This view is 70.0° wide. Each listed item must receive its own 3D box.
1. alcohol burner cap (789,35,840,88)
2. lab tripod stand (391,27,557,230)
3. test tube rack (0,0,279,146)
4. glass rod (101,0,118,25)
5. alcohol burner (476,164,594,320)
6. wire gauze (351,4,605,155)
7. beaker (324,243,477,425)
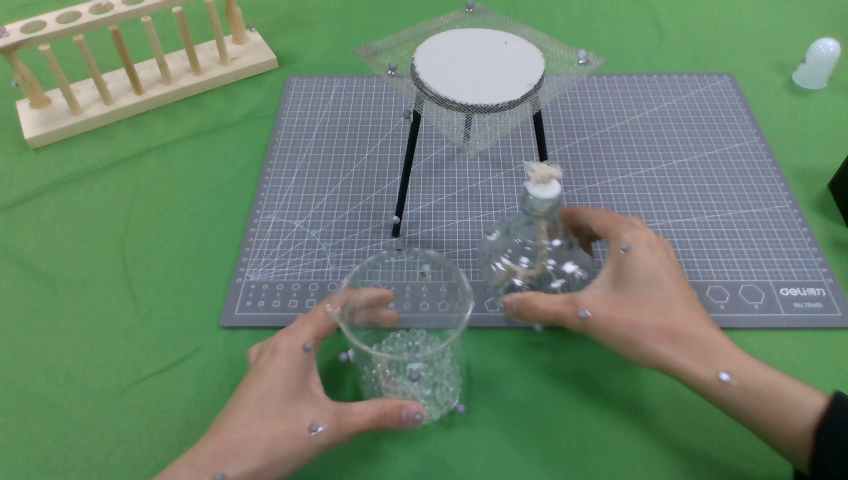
[{"bbox_3d":[0.383,-0.176,0.590,0.034,0.048,0.033,0,50,1],"label":"alcohol burner cap"},{"bbox_3d":[0.040,-0.076,0.452,0.148,0.132,0.147,1,50,0],"label":"lab tripod stand"},{"bbox_3d":[-0.272,-0.181,0.579,0.242,0.086,0.066,-25,54,-18],"label":"test tube rack"},{"bbox_3d":[-0.283,-0.224,0.528,0.008,0.201,0.008,3,51,-3],"label":"glass rod"},{"bbox_3d":[0.073,-0.003,0.393,0.078,0.120,0.077,-2,46,3],"label":"alcohol burner"},{"bbox_3d":[0.034,-0.116,0.398,0.121,0.011,0.124,-33,58,-24],"label":"wire gauze"},{"bbox_3d":[-0.012,0.062,0.366,0.084,0.101,0.073,-2,51,-1],"label":"beaker"}]
